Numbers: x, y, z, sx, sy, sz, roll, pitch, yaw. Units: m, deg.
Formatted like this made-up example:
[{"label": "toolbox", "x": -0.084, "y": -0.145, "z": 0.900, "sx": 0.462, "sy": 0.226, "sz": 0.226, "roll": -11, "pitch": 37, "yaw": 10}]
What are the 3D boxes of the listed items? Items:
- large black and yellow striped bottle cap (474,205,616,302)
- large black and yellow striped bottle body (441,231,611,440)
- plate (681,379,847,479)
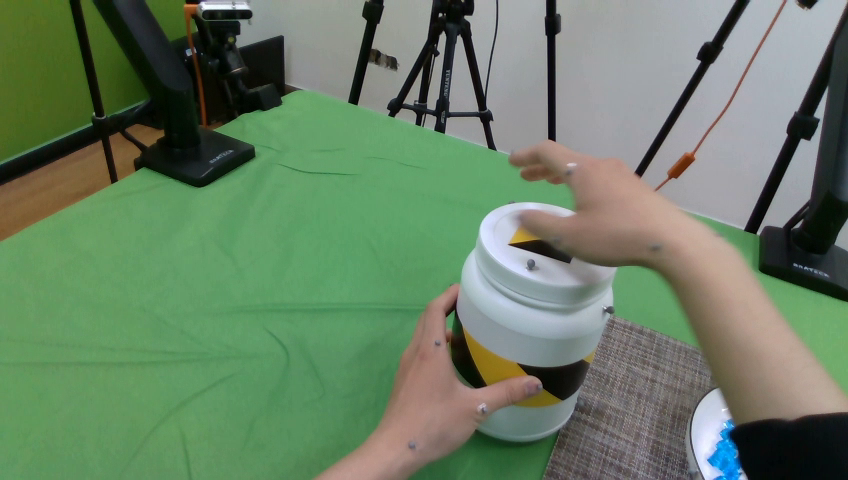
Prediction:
[{"label": "large black and yellow striped bottle cap", "x": 0.098, "y": 0.007, "z": 0.495, "sx": 0.115, "sy": 0.019, "sz": 0.114, "roll": 6, "pitch": 34, "yaw": -4}, {"label": "large black and yellow striped bottle body", "x": 0.089, "y": 0.075, "z": 0.545, "sx": 0.131, "sy": 0.185, "sz": 0.129, "roll": 5, "pitch": 36, "yaw": -3}, {"label": "plate", "x": 0.325, "y": 0.212, "z": 0.525, "sx": 0.208, "sy": 0.039, "sz": 0.205, "roll": 6, "pitch": 36, "yaw": -4}]
